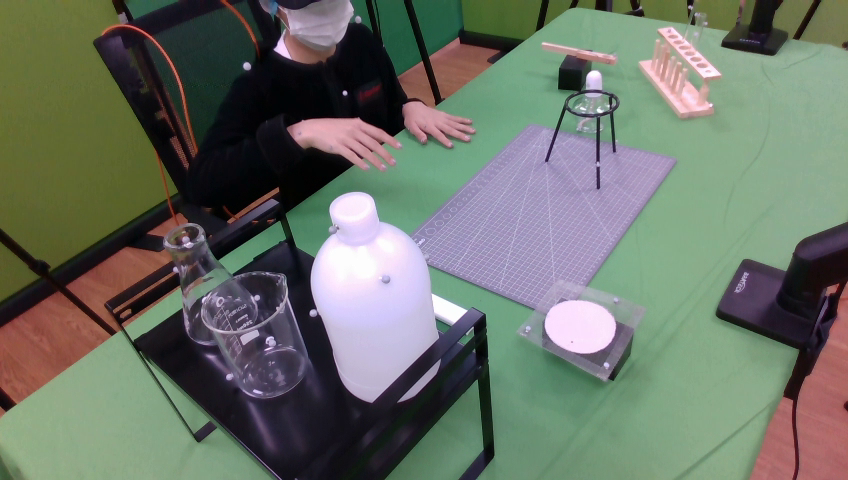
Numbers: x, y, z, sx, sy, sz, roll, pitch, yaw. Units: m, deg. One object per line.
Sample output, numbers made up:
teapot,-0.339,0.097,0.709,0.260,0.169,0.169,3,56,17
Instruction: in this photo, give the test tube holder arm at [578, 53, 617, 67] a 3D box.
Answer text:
test tube holder arm,0.376,-0.393,1.314,0.087,0.015,0.010,26,51,32

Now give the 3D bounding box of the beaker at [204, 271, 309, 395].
beaker,-0.149,0.088,0.565,0.073,0.101,0.084,21,47,29

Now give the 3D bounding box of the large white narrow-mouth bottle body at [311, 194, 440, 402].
large white narrow-mouth bottle body,-0.043,0.046,0.522,0.102,0.195,0.101,-5,40,5

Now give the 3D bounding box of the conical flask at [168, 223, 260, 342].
conical flask,-0.219,0.040,0.614,0.075,0.122,0.075,-5,40,4

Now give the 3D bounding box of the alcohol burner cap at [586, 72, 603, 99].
alcohol burner cap,0.325,-0.297,1.154,0.034,0.048,0.033,-8,35,6

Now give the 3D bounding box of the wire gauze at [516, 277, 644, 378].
wire gauze,0.197,0.103,0.765,0.124,0.011,0.122,23,50,32

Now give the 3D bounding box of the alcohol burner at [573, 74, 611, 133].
alcohol burner,0.330,-0.270,1.177,0.078,0.119,0.077,-4,43,4

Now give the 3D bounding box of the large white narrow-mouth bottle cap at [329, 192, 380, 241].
large white narrow-mouth bottle cap,-0.053,-0.019,0.466,0.038,0.024,0.037,-5,40,4

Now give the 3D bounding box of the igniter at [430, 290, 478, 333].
igniter,-0.038,0.068,0.905,0.274,0.025,0.057,24,60,32

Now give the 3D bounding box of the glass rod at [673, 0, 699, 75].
glass rod,0.541,-0.427,1.246,0.008,0.200,0.008,0,48,1

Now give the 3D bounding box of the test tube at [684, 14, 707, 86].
test tube,0.541,-0.379,1.216,0.017,0.151,0.017,-2,44,2

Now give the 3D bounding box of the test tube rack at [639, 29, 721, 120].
test tube rack,0.527,-0.351,1.262,0.067,0.085,0.241,-8,40,1

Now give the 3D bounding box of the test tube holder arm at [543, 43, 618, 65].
test tube holder arm,0.344,-0.413,1.341,0.177,0.015,0.013,25,50,31

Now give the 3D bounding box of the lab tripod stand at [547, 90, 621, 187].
lab tripod stand,0.289,-0.184,1.062,0.148,0.132,0.147,-6,41,6
